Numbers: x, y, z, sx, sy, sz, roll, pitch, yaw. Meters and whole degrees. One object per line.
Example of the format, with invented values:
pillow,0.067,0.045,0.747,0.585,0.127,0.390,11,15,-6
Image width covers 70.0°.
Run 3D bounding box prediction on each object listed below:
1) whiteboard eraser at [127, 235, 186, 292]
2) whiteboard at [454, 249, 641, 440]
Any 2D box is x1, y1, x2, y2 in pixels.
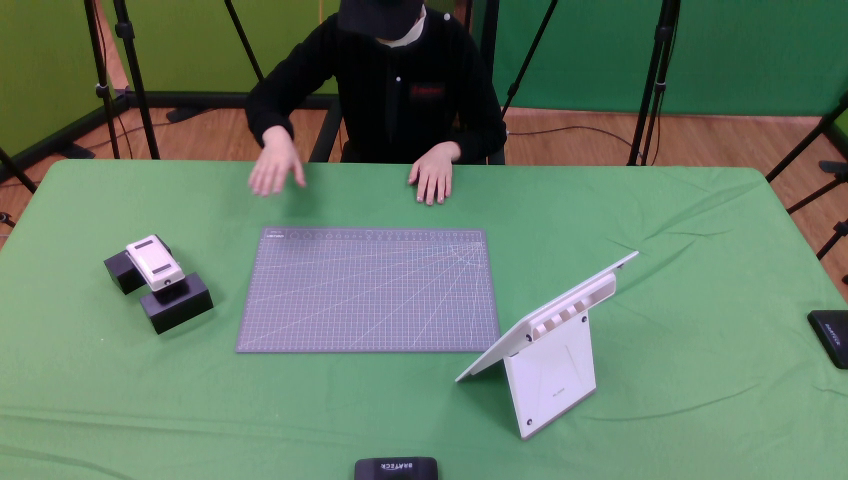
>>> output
whiteboard eraser,-0.460,0.041,1.042,0.055,0.042,0.112,-31,55,-28
whiteboard,0.206,0.174,0.890,0.217,0.306,0.143,-24,72,-25
